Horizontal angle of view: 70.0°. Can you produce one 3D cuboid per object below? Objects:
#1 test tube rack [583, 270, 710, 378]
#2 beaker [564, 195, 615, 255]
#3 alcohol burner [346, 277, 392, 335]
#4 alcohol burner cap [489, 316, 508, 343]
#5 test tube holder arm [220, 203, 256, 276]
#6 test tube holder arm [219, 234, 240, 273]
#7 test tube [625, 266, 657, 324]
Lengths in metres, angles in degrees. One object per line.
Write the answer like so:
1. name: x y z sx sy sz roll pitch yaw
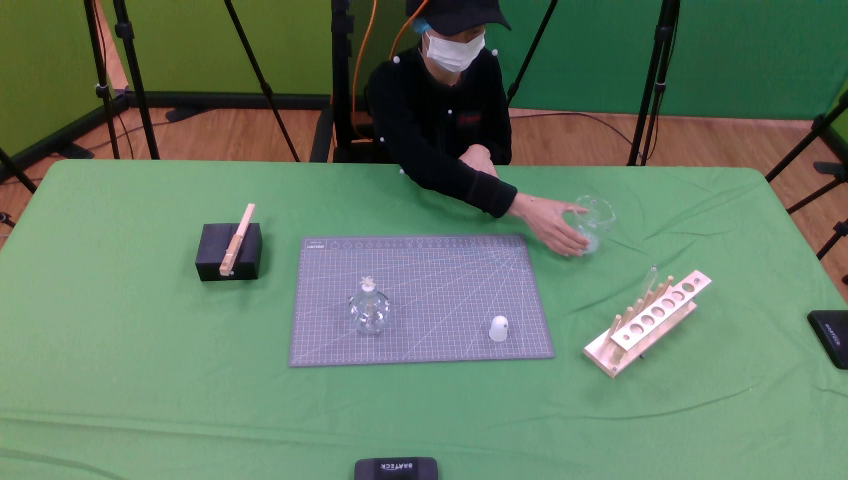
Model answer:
1. test tube rack: 0.389 0.133 1.057 0.242 0.085 0.066 -29 54 -28
2. beaker: 0.317 -0.025 1.175 0.084 0.101 0.073 20 52 13
3. alcohol burner: -0.093 0.106 1.021 0.078 0.120 0.077 1 46 -1
4. alcohol burner cap: 0.130 0.151 1.045 0.034 0.048 0.033 2 46 -2
5. test tube holder arm: -0.340 -0.005 1.112 0.015 0.013 0.177 5 46 2
6. test tube holder arm: -0.344 0.023 1.076 0.015 0.010 0.087 5 45 2
7. test tube: 0.367 0.097 1.027 0.017 0.151 0.017 1 46 -1
